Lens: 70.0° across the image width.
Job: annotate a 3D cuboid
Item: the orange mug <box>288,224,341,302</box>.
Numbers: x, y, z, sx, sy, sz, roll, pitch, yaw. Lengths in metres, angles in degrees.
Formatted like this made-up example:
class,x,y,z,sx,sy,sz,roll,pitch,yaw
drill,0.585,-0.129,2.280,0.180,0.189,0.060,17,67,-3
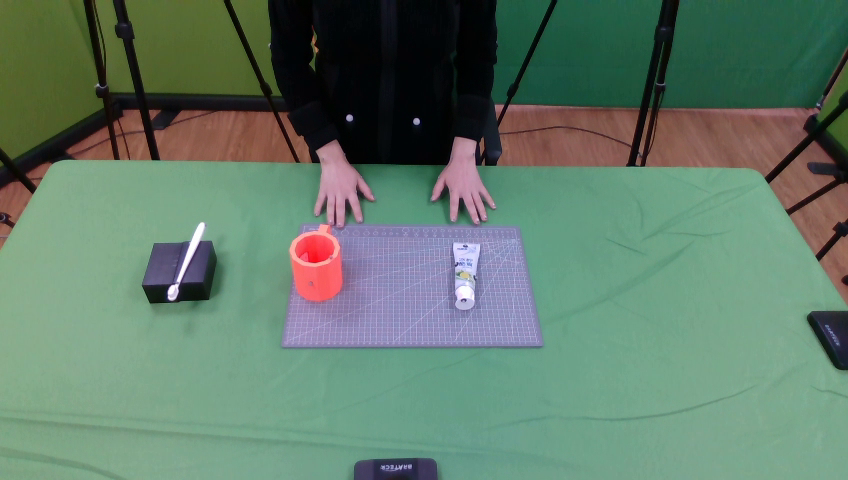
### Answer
class,x,y,z,sx,sy,sz,roll,pitch,yaw
orange mug,-0.192,0.034,1.094,0.083,0.101,0.125,7,50,2

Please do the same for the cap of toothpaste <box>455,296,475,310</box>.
class,x,y,z,sx,sy,sz,roll,pitch,yaw
cap of toothpaste,0.072,0.111,1.081,0.037,0.037,0.011,-2,47,-6

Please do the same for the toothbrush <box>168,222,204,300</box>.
class,x,y,z,sx,sy,sz,roll,pitch,yaw
toothbrush,-0.419,0.032,1.070,0.014,0.017,0.180,1,46,2

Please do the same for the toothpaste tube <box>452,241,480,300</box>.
class,x,y,z,sx,sy,sz,roll,pitch,yaw
toothpaste tube,0.079,0.058,1.142,0.055,0.034,0.164,9,42,-4
